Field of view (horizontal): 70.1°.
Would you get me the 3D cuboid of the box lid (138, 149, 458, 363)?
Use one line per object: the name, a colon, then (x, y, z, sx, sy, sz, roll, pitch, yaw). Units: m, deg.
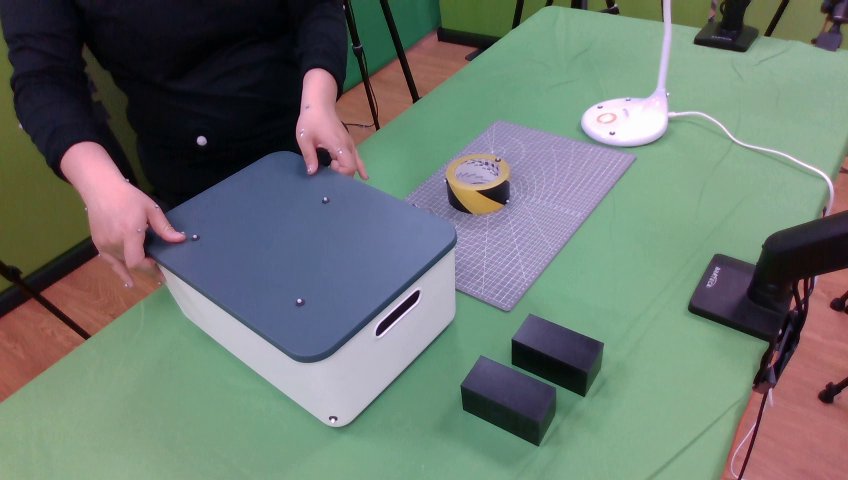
box lid: (-0.166, -0.004, 0.774, 0.368, 0.015, 0.264, 25, 50, 32)

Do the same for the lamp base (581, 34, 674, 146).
lamp base: (0.392, -0.291, 1.129, 0.180, 0.181, 0.159, -11, 41, -8)

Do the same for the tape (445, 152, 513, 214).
tape: (0.095, -0.099, 1.043, 0.117, 0.053, 0.116, -4, 41, 4)

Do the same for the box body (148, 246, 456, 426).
box body: (-0.160, 0.050, 0.824, 0.361, 0.161, 0.255, 25, 50, 32)
